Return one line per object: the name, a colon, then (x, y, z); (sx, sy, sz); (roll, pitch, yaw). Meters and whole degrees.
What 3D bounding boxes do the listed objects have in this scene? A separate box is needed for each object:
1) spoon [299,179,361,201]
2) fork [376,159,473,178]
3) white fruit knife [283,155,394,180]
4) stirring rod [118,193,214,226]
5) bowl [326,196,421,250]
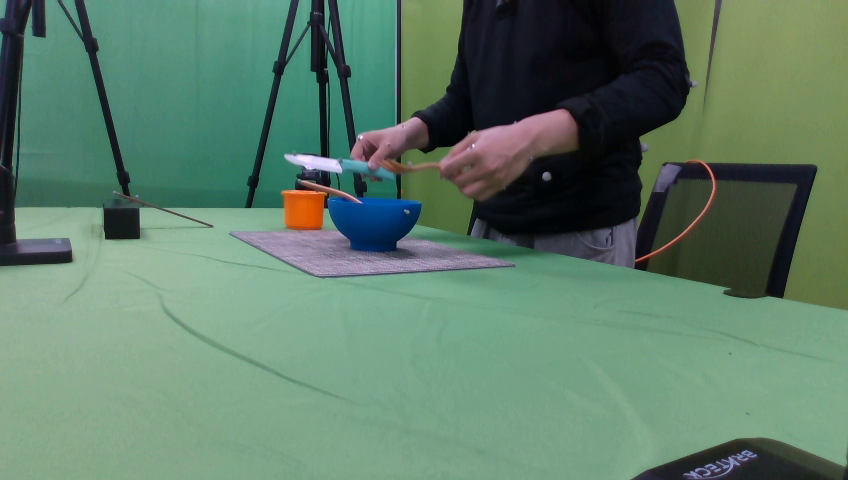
spoon: (-0.123, -0.068, 0.993); (0.193, 0.021, 0.042); (25, 9, 17)
fork: (0.008, -0.099, 0.853); (0.028, 0.018, 0.208); (-7, -2, 38)
white fruit knife: (-0.149, -0.134, 1.081); (0.208, 0.027, 0.016); (5, -11, -28)
stirring rod: (-0.484, -0.056, 1.142); (0.177, 0.006, 0.014); (21, -6, -28)
bowl: (-0.080, -0.027, 0.958); (0.151, 0.077, 0.151); (2, 7, 0)
